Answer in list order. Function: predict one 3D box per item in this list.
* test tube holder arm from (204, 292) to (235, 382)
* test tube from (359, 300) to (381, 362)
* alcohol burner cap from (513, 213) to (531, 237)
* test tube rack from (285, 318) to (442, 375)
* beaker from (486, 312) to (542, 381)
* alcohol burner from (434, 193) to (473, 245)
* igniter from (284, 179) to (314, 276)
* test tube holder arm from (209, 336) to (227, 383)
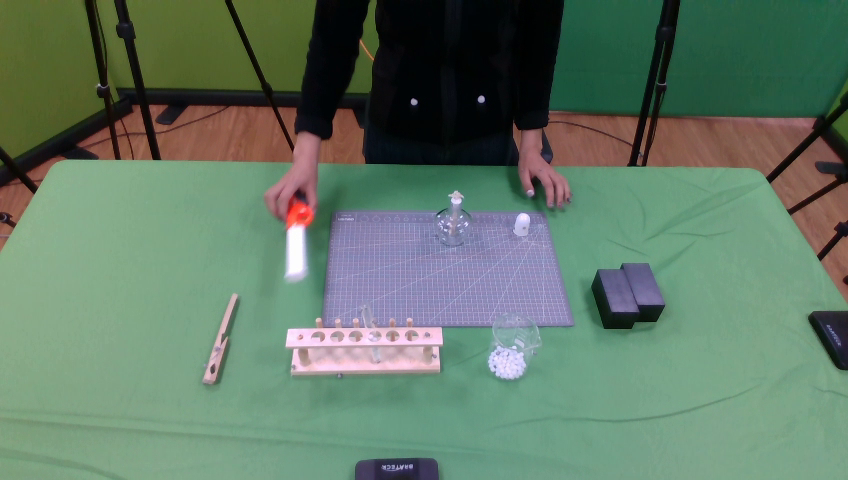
[{"bbox_3d":[-0.343,0.159,1.020,0.013,0.015,0.177,27,39,-27],"label":"test tube holder arm"},{"bbox_3d":[-0.083,0.144,0.940,0.017,0.151,0.017,-3,46,3],"label":"test tube"},{"bbox_3d":[0.200,-0.034,1.227,0.034,0.048,0.033,2,46,-2],"label":"alcohol burner cap"},{"bbox_3d":[-0.095,0.168,0.986,0.242,0.085,0.066,0,46,-4],"label":"test tube rack"},{"bbox_3d":[0.144,0.177,0.985,0.084,0.101,0.074,22,49,16],"label":"beaker"},{"bbox_3d":[0.059,-0.047,1.180,0.078,0.120,0.077,1,48,-1],"label":"alcohol burner"},{"bbox_3d":[-0.230,-0.032,1.121,0.057,0.025,0.274,-10,40,-4],"label":"igniter"},{"bbox_3d":[-0.338,0.193,0.991,0.010,0.015,0.087,28,39,-26],"label":"test tube holder arm"}]
